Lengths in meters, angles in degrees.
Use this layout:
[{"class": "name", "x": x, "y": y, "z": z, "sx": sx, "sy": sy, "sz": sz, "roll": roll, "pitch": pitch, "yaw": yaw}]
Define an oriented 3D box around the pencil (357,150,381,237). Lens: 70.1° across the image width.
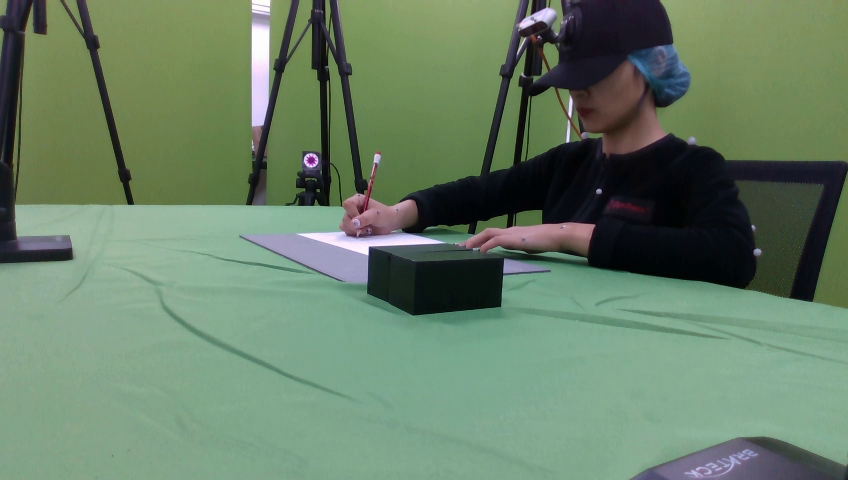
[{"class": "pencil", "x": -0.099, "y": -0.086, "z": 1.087, "sx": 0.012, "sy": 0.194, "sz": 0.012, "roll": 7, "pitch": -31, "yaw": 5}]
